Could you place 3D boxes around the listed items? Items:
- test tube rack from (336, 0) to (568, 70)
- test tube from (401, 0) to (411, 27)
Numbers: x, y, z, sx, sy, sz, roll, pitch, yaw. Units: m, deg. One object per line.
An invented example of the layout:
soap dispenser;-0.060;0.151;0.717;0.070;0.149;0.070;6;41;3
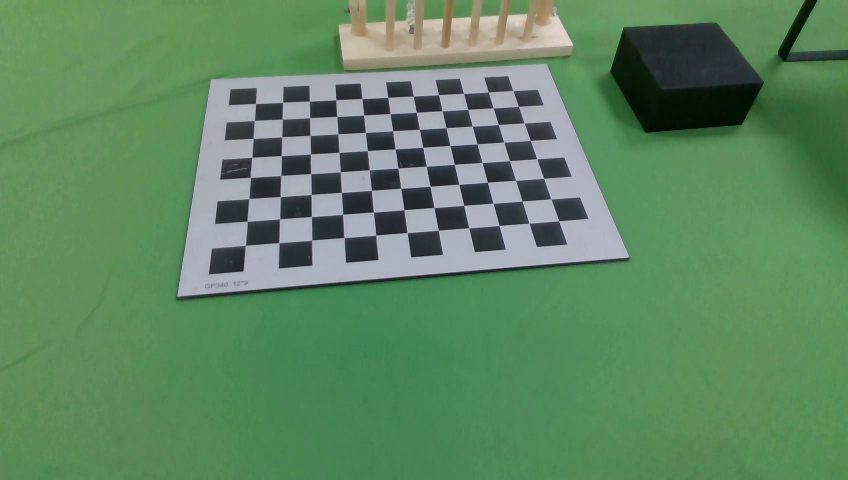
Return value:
test tube rack;0.030;-0.238;0.623;0.243;0.086;0.066;-6;51;-7
test tube;-0.010;-0.280;0.591;0.017;0.151;0.017;4;46;-4
